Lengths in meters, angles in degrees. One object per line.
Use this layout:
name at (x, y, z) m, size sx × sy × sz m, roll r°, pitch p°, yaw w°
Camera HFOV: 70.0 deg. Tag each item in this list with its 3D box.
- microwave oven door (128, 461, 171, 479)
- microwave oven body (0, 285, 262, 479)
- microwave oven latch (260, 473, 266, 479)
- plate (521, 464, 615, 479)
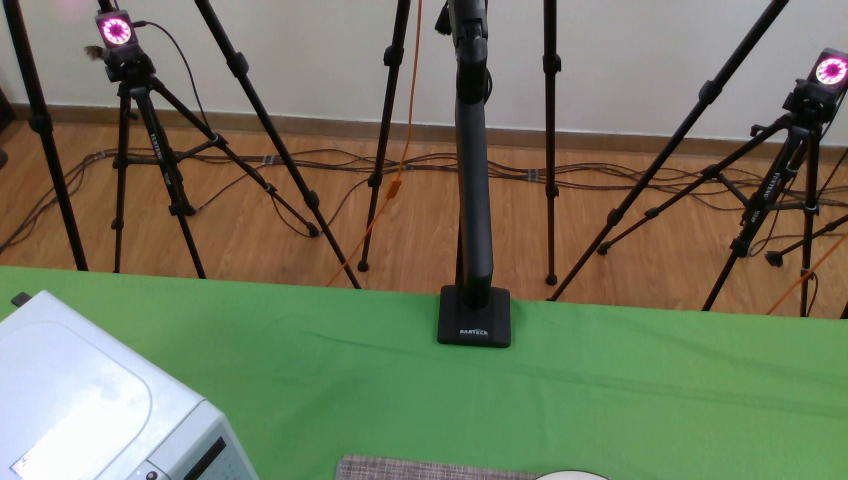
microwave oven door at (-0.357, 0.406, 0.583) m, size 0.039 × 0.246 × 0.354 m, roll 25°, pitch 53°, yaw 20°
microwave oven body at (-0.459, 0.324, 0.659) m, size 0.324 × 0.262 × 0.440 m, roll 26°, pitch 54°, yaw 19°
microwave oven latch at (-0.240, 0.334, 0.782) m, size 0.030 × 0.030 × 0.079 m, roll 28°, pitch 55°, yaw 20°
plate at (0.190, 0.390, 0.760) m, size 0.208 × 0.039 × 0.205 m, roll 1°, pitch 49°, yaw 0°
